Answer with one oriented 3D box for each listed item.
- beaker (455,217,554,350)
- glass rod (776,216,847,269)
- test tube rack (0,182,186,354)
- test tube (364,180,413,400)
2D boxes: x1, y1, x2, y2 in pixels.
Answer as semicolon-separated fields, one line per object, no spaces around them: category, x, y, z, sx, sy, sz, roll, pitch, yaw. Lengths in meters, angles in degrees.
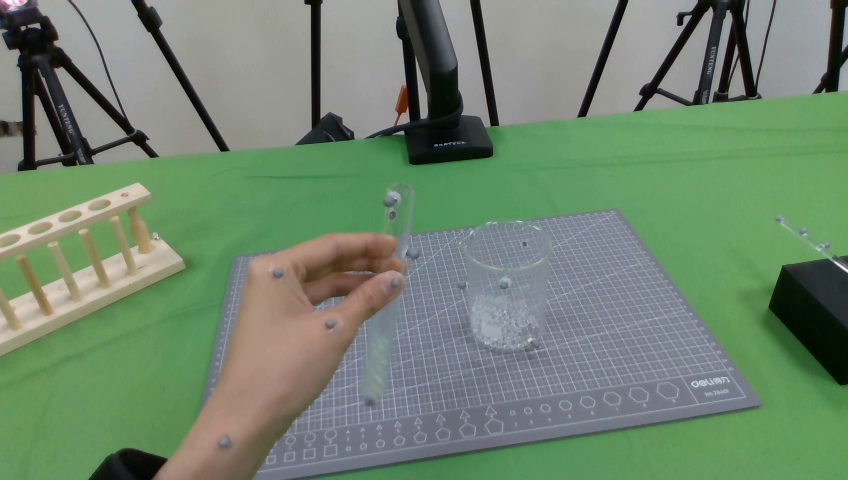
beaker;0.070;0.041;0.537;0.083;0.101;0.073;6;37;15
glass rod;0.377;0.030;0.519;0.008;0.008;0.197;-13;36;-12
test tube rack;-0.377;0.034;0.603;0.242;0.086;0.066;-30;43;-31
test tube;-0.022;0.036;0.358;0.017;0.151;0.017;7;28;-3
